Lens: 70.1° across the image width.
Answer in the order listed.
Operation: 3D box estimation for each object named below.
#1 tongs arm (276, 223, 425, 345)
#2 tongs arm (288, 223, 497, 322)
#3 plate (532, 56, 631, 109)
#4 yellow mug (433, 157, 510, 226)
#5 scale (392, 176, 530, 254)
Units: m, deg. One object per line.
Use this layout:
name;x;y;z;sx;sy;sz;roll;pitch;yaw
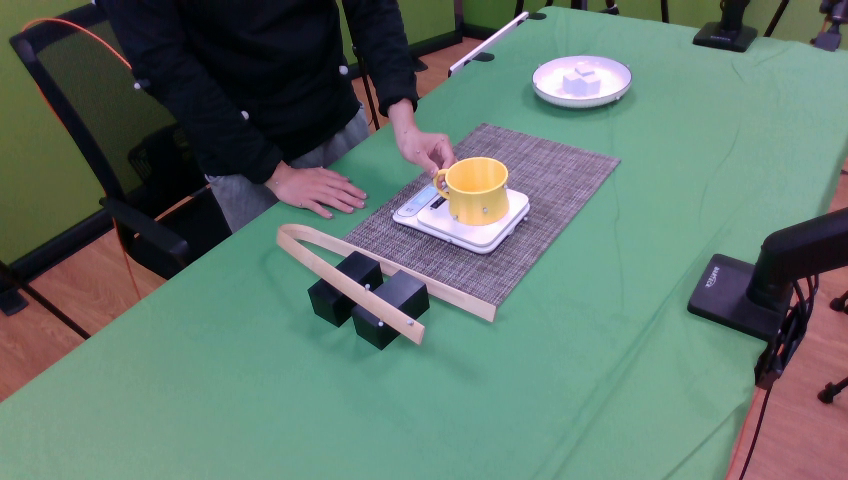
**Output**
tongs arm;-0.114;0.049;0.856;0.051;0.026;0.381;-7;24;-43
tongs arm;-0.060;0.042;0.918;0.384;0.028;0.028;21;24;29
plate;0.336;-0.335;1.301;0.207;0.039;0.206;-4;41;4
yellow mug;0.072;-0.082;0.969;0.130;0.064;0.100;14;46;25
scale;0.060;-0.051;1.006;0.199;0.032;0.149;22;48;30
